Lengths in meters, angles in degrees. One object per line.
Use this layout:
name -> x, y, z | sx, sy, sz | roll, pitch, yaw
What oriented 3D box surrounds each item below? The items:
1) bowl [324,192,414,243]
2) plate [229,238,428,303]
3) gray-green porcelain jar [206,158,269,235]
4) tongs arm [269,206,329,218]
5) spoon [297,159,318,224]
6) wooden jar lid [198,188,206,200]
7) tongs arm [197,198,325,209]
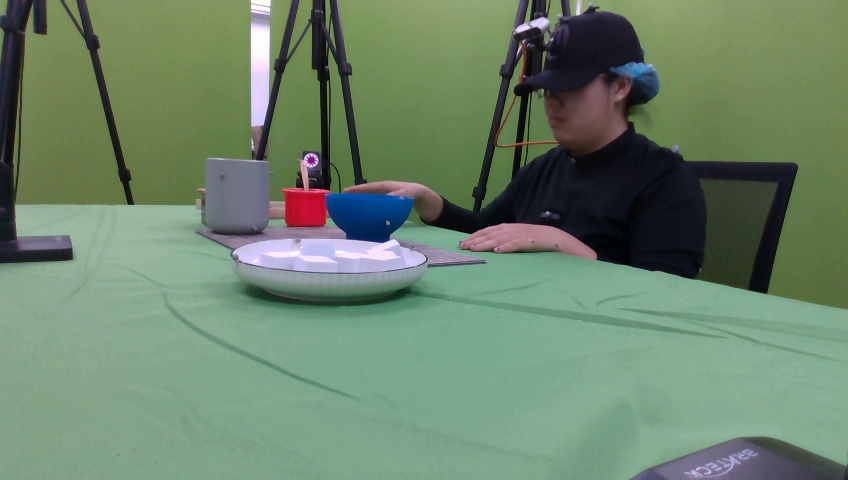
bowl -> -0.094, -0.037, 1.015 | 0.151, 0.077, 0.151 | 3, 7, 0
plate -> -0.099, 0.032, 0.651 | 0.209, 0.038, 0.209 | 3, 8, 0
gray-green porcelain jar -> -0.322, -0.076, 1.048 | 0.106, 0.126, 0.106 | 3, 7, 0
tongs arm -> -0.294, -0.066, 1.384 | 0.390, 0.028, 0.028 | -3, 7, -42
spoon -> -0.244, -0.103, 1.251 | 0.042, 0.021, 0.193 | 1, 51, -17
wooden jar lid -> -0.382, -0.088, 1.175 | 0.108, 0.020, 0.108 | 3, 8, 0
tongs arm -> -0.337, -0.079, 1.449 | 0.387, 0.026, 0.050 | 0, 8, -29
